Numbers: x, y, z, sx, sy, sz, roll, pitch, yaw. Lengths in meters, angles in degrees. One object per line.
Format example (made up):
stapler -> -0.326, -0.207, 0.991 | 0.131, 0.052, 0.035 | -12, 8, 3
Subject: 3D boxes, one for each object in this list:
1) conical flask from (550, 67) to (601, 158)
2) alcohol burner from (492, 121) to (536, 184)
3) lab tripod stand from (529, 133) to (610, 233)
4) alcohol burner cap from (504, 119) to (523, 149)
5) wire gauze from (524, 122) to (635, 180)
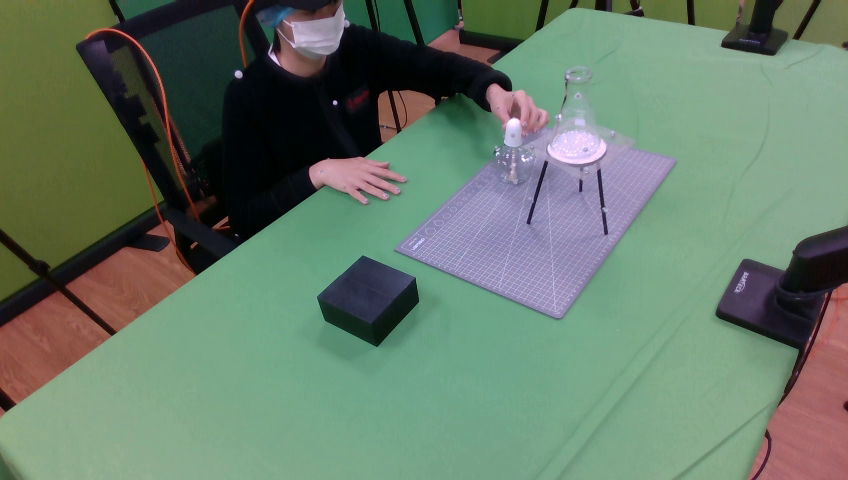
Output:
conical flask -> 0.221, -0.186, 0.875 | 0.075, 0.122, 0.075 | -5, 40, 5
alcohol burner -> 0.159, -0.158, 1.064 | 0.078, 0.119, 0.077 | -3, 41, 3
lab tripod stand -> 0.236, -0.089, 0.953 | 0.148, 0.132, 0.147 | -5, 42, 5
alcohol burner cap -> 0.154, -0.185, 1.041 | 0.034, 0.048, 0.033 | -2, 43, 2
wire gauze -> 0.233, -0.142, 0.913 | 0.122, 0.011, 0.124 | -31, 43, -26
